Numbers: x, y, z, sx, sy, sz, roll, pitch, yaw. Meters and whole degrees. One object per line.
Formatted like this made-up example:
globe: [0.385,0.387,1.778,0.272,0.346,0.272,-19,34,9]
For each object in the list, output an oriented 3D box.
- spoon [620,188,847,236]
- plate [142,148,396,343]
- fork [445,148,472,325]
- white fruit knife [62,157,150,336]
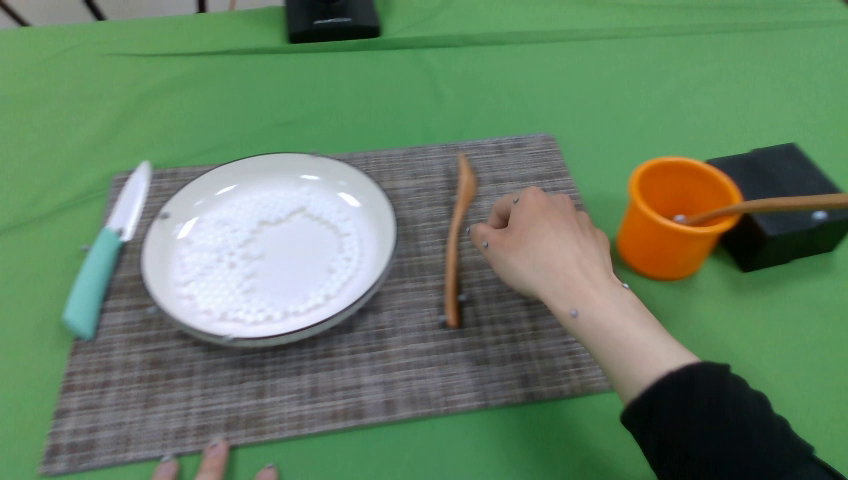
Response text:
spoon: [0.244,-0.024,0.489,0.041,0.193,0.022,-37,103,-32]
plate: [-0.127,0.002,0.520,0.209,0.038,0.207,1,49,-1]
fork: [0.030,-0.011,0.549,0.018,0.028,0.205,-14,47,25]
white fruit knife: [-0.276,-0.006,0.537,0.027,0.016,0.205,20,43,-23]
